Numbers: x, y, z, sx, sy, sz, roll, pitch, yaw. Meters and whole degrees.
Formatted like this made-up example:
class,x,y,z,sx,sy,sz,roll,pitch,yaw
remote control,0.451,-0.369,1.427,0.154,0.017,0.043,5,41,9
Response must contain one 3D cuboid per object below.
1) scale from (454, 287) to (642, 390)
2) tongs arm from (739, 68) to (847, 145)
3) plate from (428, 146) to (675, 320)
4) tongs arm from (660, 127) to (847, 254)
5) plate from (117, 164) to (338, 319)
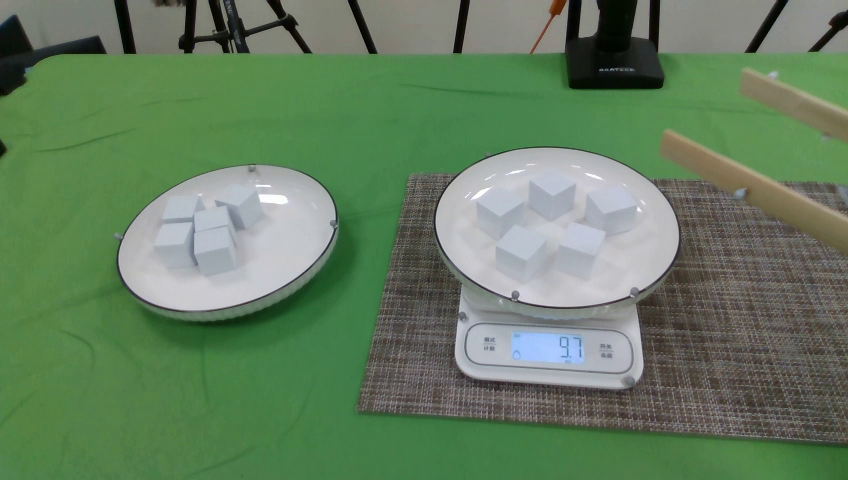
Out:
class,x,y,z,sx,sy,sz,roll,pitch,yaw
scale,0.108,0.037,0.536,0.148,0.032,0.199,3,45,8
tongs arm,0.345,-0.007,0.355,0.051,0.027,0.380,-35,53,-18
plate,0.108,-0.007,0.533,0.207,0.039,0.205,-1,44,2
tongs arm,0.304,0.022,0.340,0.028,0.028,0.383,-36,53,-23
plate,-0.187,0.001,0.597,0.209,0.038,0.207,-2,44,2
